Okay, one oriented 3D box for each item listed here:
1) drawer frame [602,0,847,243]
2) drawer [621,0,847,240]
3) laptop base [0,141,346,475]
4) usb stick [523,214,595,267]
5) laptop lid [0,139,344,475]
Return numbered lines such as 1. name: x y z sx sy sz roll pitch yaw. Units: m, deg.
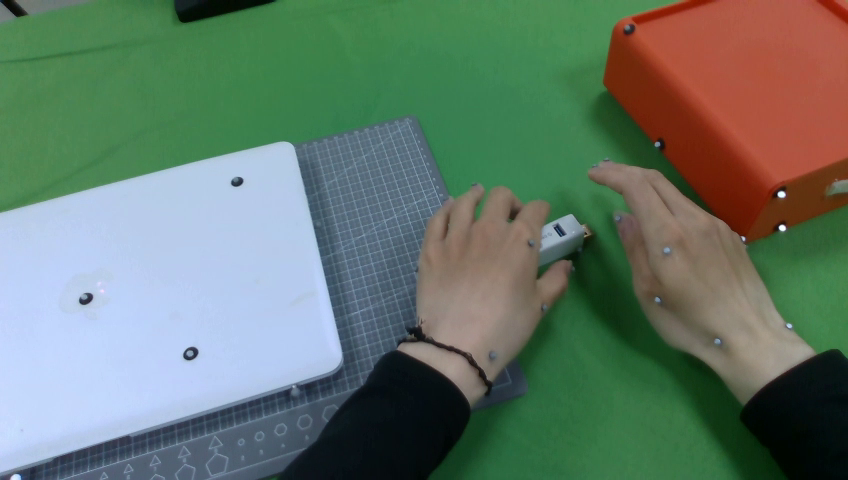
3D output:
1. drawer frame: 0.295 -0.124 0.511 0.202 0.083 0.211 -21 55 -9
2. drawer: 0.296 -0.123 0.510 0.195 0.074 0.209 -20 55 -8
3. laptop base: -0.253 0.050 0.476 0.355 0.023 0.233 -16 58 -6
4. usb stick: 0.109 -0.002 0.477 0.059 0.027 0.021 -19 55 -14
5. laptop lid: -0.254 0.045 0.465 0.357 0.013 0.239 -15 57 -5
